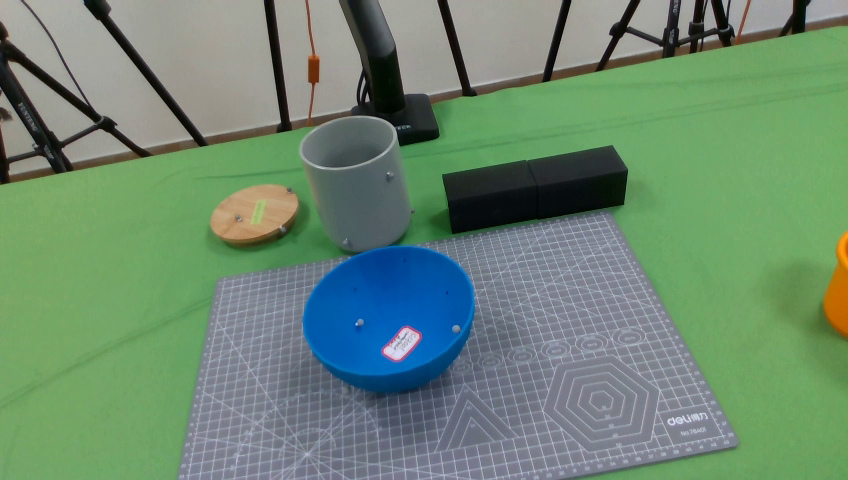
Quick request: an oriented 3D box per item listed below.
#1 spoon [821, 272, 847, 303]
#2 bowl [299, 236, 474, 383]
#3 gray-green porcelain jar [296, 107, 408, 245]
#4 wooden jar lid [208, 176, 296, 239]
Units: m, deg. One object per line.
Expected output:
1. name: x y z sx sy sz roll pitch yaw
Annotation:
1. spoon: 0.417 0.018 0.476 0.022 0.193 0.041 47 55 -7
2. bowl: -0.028 0.075 0.544 0.151 0.077 0.150 -5 42 5
3. gray-green porcelain jar: -0.075 -0.067 0.675 0.106 0.128 0.105 -5 42 5
4. wooden jar lid: -0.210 -0.039 0.750 0.108 0.021 0.107 -4 43 4
